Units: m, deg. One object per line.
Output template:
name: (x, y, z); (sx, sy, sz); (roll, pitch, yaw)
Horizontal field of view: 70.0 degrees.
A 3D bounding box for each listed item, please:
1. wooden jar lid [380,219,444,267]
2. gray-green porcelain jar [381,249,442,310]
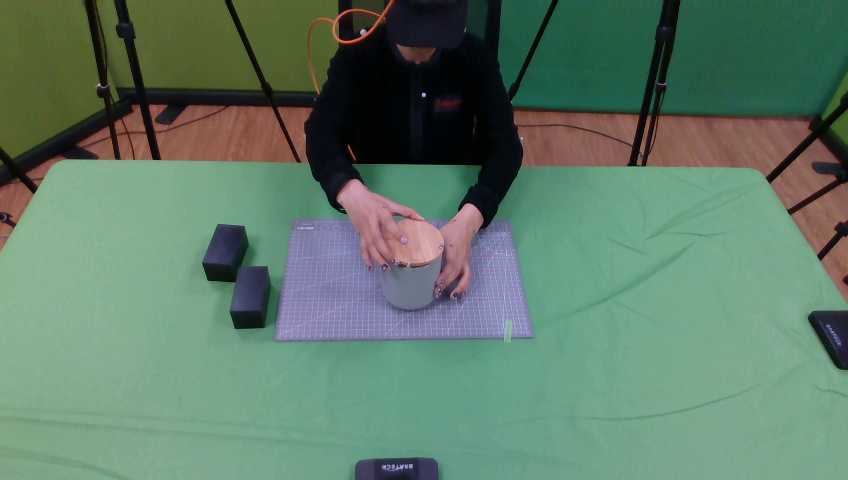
wooden jar lid: (-0.020, 0.007, 1.018); (0.108, 0.021, 0.107); (4, 45, -4)
gray-green porcelain jar: (-0.023, 0.053, 1.068); (0.106, 0.127, 0.105); (2, 46, -2)
